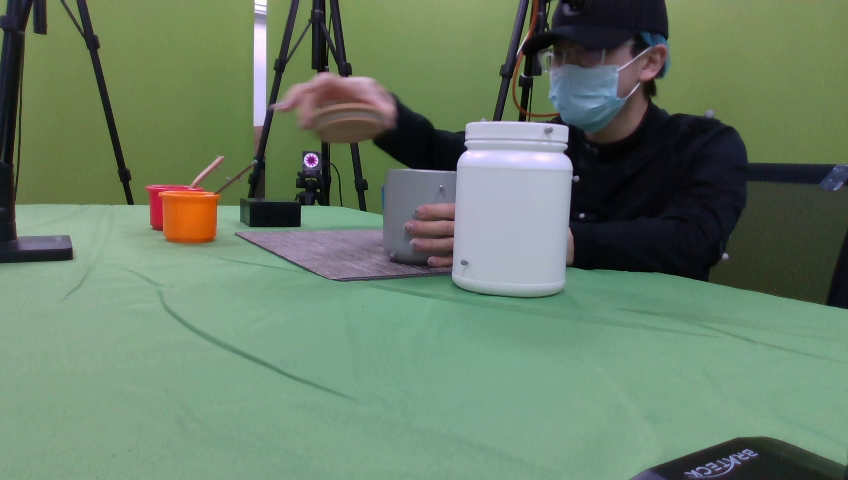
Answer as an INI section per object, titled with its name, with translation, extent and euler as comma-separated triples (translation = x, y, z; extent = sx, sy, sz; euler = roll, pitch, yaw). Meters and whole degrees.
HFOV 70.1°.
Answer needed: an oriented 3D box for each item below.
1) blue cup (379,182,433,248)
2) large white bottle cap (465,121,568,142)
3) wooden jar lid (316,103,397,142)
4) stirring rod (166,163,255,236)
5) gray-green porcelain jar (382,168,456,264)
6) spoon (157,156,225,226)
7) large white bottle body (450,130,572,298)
[blue cup]
translation = -0.030, -0.042, 0.979
extent = 0.093, 0.100, 0.092
euler = 2, 9, 0
[large white bottle cap]
translation = 0.103, -0.120, 0.677
extent = 0.115, 0.018, 0.115
euler = 2, 7, 0
[wooden jar lid]
translation = -0.088, -0.153, 0.803
extent = 0.108, 0.020, 0.108
euler = -8, -7, -1
[stirring rod]
translation = -0.341, -0.066, 0.967
extent = 0.176, 0.006, 0.014
euler = -42, 23, -9
[gray-green porcelain jar]
translation = -0.005, -0.034, 0.834
extent = 0.106, 0.126, 0.106
euler = 3, 7, 0
[spoon]
translation = -0.425, -0.094, 1.118
extent = 0.041, 0.022, 0.194
euler = 3, 51, 30
[large white bottle body]
translation = 0.099, -0.037, 0.688
extent = 0.131, 0.184, 0.130
euler = 2, 7, 0
